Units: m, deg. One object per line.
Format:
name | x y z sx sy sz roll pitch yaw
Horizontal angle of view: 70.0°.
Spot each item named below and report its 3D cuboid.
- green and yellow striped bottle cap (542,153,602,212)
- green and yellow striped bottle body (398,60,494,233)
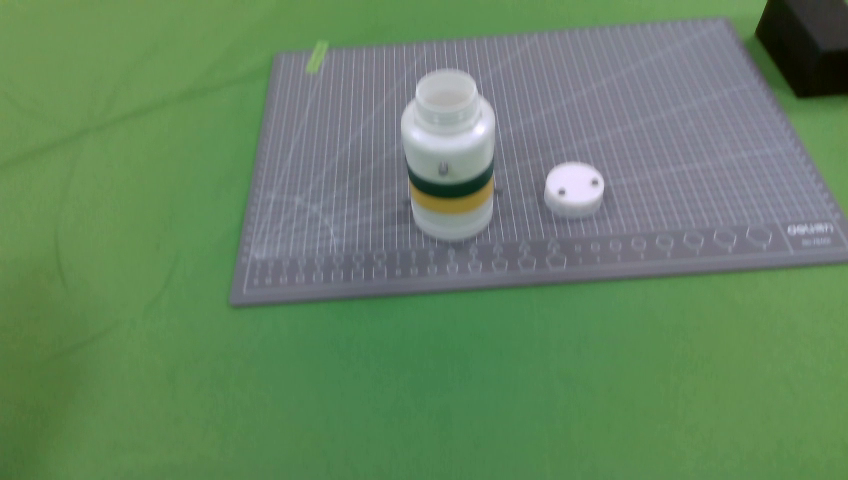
green and yellow striped bottle cap | 0.113 -0.045 0.464 0.045 0.020 0.045 -2 56 3
green and yellow striped bottle body | 0.016 -0.064 0.420 0.063 0.121 0.062 -2 54 3
